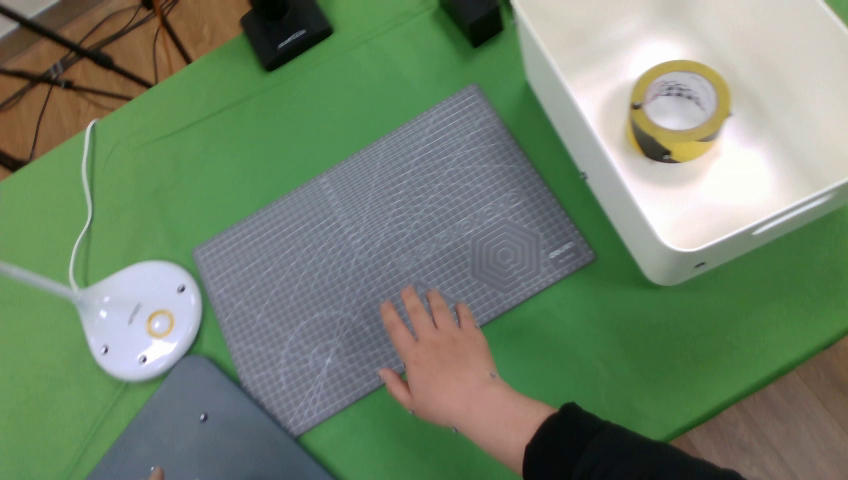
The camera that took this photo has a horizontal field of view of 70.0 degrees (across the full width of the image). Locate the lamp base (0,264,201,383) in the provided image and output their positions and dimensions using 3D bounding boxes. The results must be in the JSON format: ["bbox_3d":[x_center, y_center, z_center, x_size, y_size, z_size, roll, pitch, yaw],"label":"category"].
[{"bbox_3d":[-0.399,0.081,0.736,0.178,0.182,0.160,5,72,18],"label":"lamp base"}]

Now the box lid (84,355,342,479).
[{"bbox_3d":[-0.234,0.332,0.699,0.369,0.015,0.263,34,82,21],"label":"box lid"}]

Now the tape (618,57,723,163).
[{"bbox_3d":[0.289,-0.154,0.718,0.116,0.053,0.116,-4,70,12],"label":"tape"}]

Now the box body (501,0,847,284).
[{"bbox_3d":[0.277,-0.161,0.669,0.254,0.162,0.361,-27,67,3],"label":"box body"}]
